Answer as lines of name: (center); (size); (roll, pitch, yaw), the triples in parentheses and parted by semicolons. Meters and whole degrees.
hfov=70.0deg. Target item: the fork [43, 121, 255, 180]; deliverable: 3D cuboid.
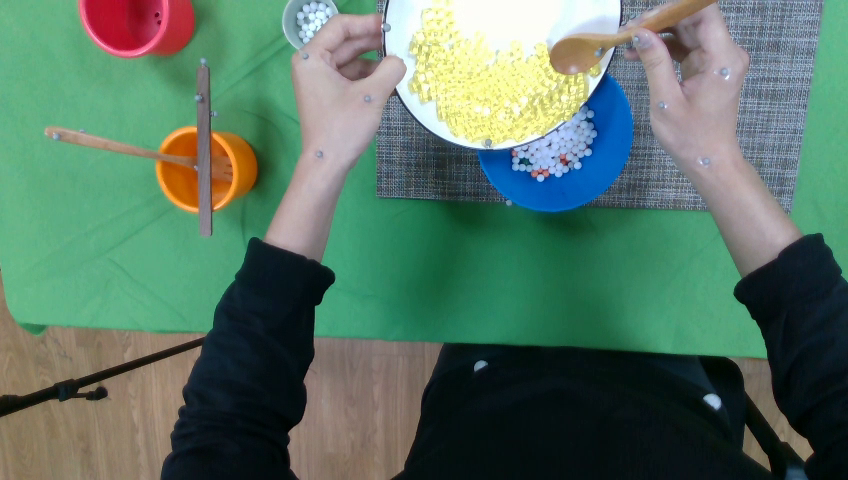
fork: (-0.279, -0.094, 0.636); (0.209, 0.018, 0.028); (9, 111, -40)

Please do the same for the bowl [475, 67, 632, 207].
bowl: (0.127, -0.114, 0.618); (0.151, 0.076, 0.152); (1, 104, 6)

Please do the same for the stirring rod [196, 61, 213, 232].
stirring rod: (-0.227, -0.094, 0.628); (0.014, 0.006, 0.177); (5, 104, 4)

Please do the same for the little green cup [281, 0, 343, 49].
little green cup: (-0.116, -0.233, 0.642); (0.061, 0.038, 0.062); (2, 103, 7)

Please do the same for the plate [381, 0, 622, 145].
plate: (0.064, -0.184, 0.519); (0.209, 0.037, 0.211); (-7, 125, -10)

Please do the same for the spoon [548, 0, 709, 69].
spoon: (0.159, -0.165, 0.470); (0.042, 0.192, 0.021); (31, 83, -20)
